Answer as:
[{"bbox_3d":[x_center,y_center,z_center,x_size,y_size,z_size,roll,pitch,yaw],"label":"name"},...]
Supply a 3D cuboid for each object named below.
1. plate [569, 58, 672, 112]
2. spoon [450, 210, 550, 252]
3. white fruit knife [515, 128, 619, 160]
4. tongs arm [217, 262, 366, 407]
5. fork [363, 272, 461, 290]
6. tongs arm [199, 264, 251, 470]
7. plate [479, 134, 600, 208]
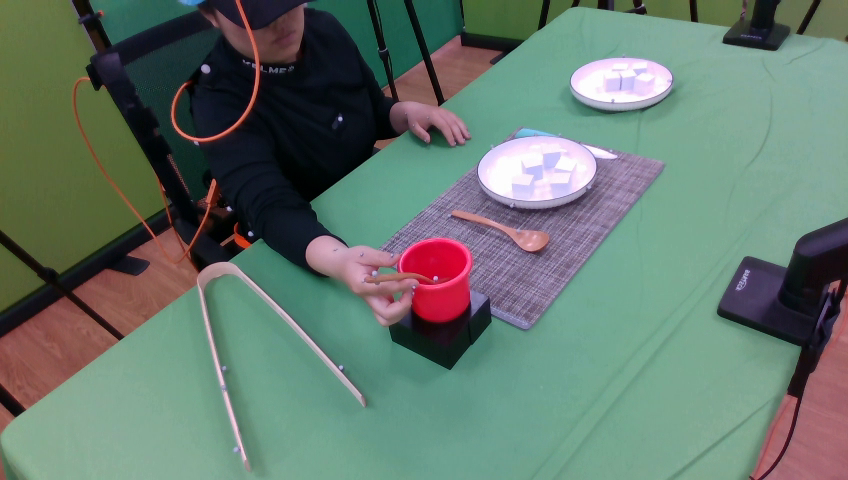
[{"bbox_3d":[0.411,-0.323,1.274,0.209,0.038,0.208,-5,41,5],"label":"plate"},{"bbox_3d":[0.119,-0.022,0.979,0.192,0.022,0.041,24,68,33],"label":"spoon"},{"bbox_3d":[0.269,-0.182,1.148,0.206,0.016,0.027,21,78,29],"label":"white fruit knife"},{"bbox_3d":[-0.201,0.122,0.871,0.028,0.028,0.384,-36,46,-24],"label":"tongs arm"},{"bbox_3d":[-0.010,0.050,0.745,0.028,0.209,0.018,26,96,30],"label":"fork"},{"bbox_3d":[-0.270,0.154,0.841,0.051,0.026,0.381,-23,40,-17],"label":"tongs arm"},{"bbox_3d":[0.202,-0.117,1.065,0.207,0.039,0.206,-5,40,5],"label":"plate"}]
